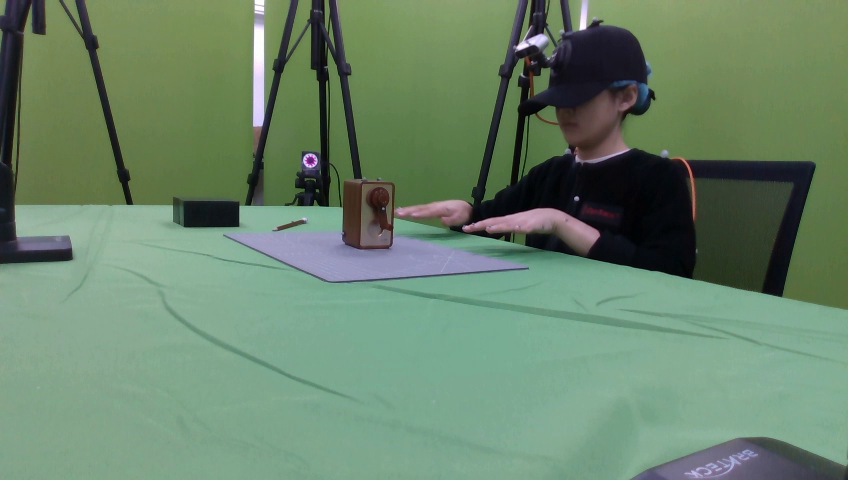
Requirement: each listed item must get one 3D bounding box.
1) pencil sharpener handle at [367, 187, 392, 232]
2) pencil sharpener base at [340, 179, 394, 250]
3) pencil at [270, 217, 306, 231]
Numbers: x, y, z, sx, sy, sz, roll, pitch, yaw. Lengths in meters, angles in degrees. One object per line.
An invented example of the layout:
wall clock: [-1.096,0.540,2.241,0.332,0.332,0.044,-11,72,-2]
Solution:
pencil sharpener handle: [-0.062,-0.046,0.915,0.036,0.068,0.030,-13,15,-28]
pencil sharpener base: [-0.091,-0.041,0.959,0.061,0.107,0.076,-1,9,-30]
pencil: [-0.271,-0.031,1.212,0.012,0.012,0.194,4,9,7]
